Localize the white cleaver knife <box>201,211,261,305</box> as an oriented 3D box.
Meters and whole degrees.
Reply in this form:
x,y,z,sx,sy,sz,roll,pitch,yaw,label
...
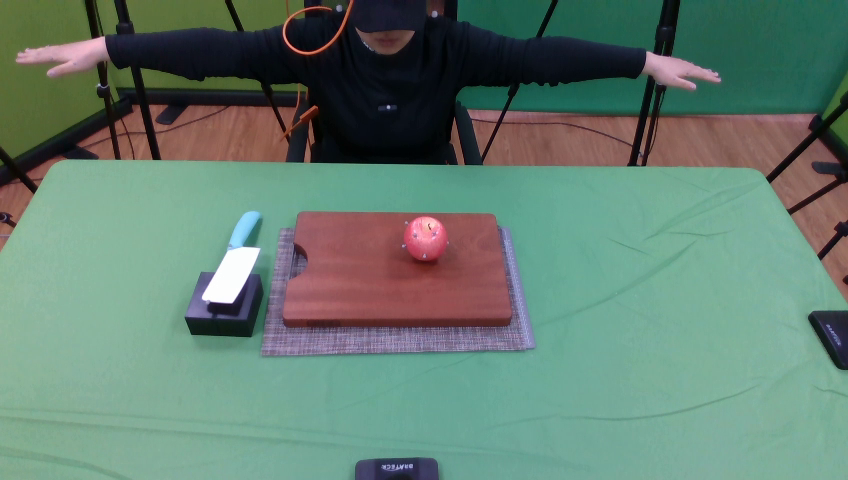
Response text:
x,y,z,sx,sy,sz,roll,pitch,yaw,label
-0.336,0.030,1.109,0.066,0.021,0.285,7,34,-4,white cleaver knife

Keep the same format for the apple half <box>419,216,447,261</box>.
x,y,z,sx,sy,sz,roll,pitch,yaw,label
0.016,0.000,1.125,0.053,0.075,0.080,4,43,-6,apple half

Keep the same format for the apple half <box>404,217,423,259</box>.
x,y,z,sx,sy,sz,roll,pitch,yaw,label
-0.022,-0.002,1.121,0.033,0.081,0.081,3,46,-7,apple half
